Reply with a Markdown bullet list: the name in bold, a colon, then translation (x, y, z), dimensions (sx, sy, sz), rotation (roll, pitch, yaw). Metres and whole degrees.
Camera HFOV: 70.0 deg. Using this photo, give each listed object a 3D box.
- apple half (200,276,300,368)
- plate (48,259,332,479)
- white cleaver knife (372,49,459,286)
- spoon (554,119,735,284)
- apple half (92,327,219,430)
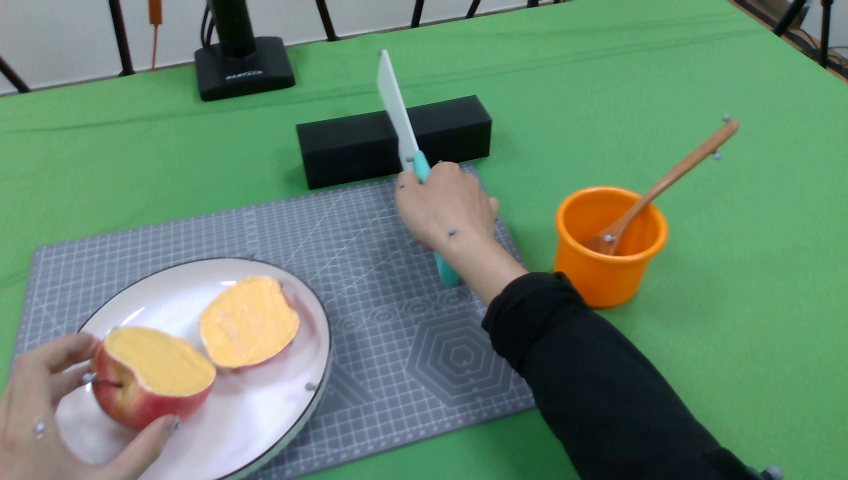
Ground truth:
- **apple half**: translation (-0.140, 0.073, 0.496), dimensions (0.081, 0.033, 0.080), rotation (-2, 60, 4)
- **plate**: translation (-0.175, 0.103, 0.475), dimensions (0.209, 0.038, 0.207), rotation (0, 47, 1)
- **white cleaver knife**: translation (-0.015, -0.078, 0.607), dimensions (0.021, 0.066, 0.283), rotation (-9, 60, -13)
- **spoon**: translation (0.188, -0.031, 0.522), dimensions (0.022, 0.194, 0.041), rotation (24, 27, -41)
- **apple half**: translation (-0.197, 0.106, 0.440), dimensions (0.080, 0.053, 0.075), rotation (31, 11, 13)
